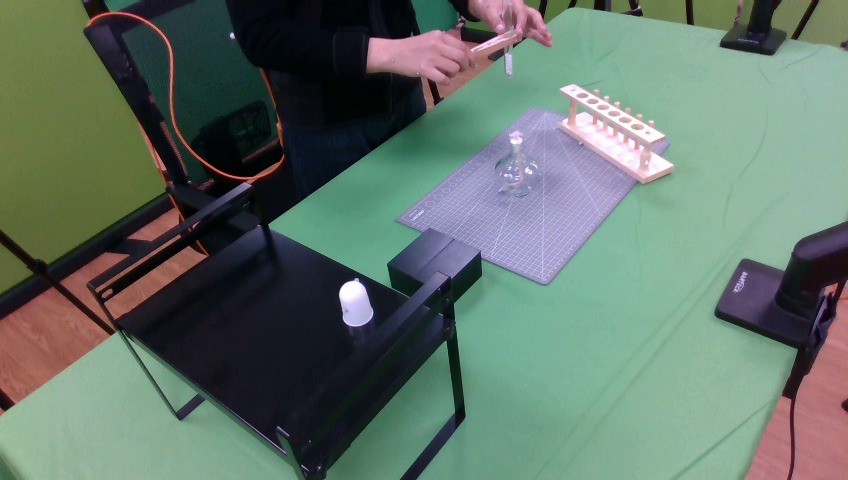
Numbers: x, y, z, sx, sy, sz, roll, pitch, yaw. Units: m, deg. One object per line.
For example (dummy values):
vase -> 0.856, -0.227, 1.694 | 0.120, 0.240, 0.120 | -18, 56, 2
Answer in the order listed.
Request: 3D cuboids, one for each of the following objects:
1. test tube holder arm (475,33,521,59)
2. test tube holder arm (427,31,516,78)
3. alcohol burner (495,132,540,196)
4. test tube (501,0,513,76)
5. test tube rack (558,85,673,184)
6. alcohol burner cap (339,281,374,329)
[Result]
test tube holder arm -> 0.123, -0.327, 1.017 | 0.088, 0.015, 0.010 | -24, 44, -12
test tube holder arm -> 0.081, -0.310, 1.009 | 0.179, 0.015, 0.013 | -29, 44, -17
alcohol burner -> 0.160, -0.135, 1.035 | 0.078, 0.119, 0.077 | -5, 42, 5
test tube -> 0.140, -0.345, 1.020 | 0.017, 0.151, 0.017 | -5, 44, 6
test tube rack -> 0.347, -0.203, 1.109 | 0.067, 0.085, 0.240 | -22, 42, -17
alcohol burner cap -> -0.071, 0.063, 0.617 | 0.034, 0.048, 0.033 | -4, 39, 4
